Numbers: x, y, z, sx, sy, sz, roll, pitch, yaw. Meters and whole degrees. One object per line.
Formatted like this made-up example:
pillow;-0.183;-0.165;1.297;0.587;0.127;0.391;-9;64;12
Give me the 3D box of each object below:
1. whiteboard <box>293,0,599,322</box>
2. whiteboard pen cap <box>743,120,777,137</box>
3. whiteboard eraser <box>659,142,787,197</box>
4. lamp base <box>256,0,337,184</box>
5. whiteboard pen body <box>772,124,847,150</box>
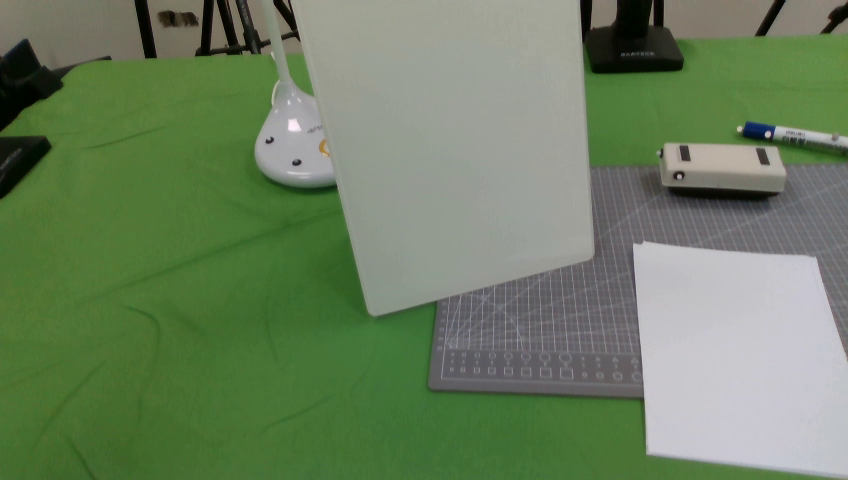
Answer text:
whiteboard;0.018;-0.116;0.545;0.217;0.307;0.142;-14;24;-7
whiteboard pen cap;0.379;-0.125;0.684;0.033;0.018;0.018;17;47;27
whiteboard eraser;0.299;-0.071;0.613;0.112;0.042;0.055;5;45;12
lamp base;-0.137;-0.180;0.683;0.160;0.182;0.177;-34;47;-27
whiteboard pen body;0.430;-0.110;0.658;0.140;0.017;0.017;17;47;26
